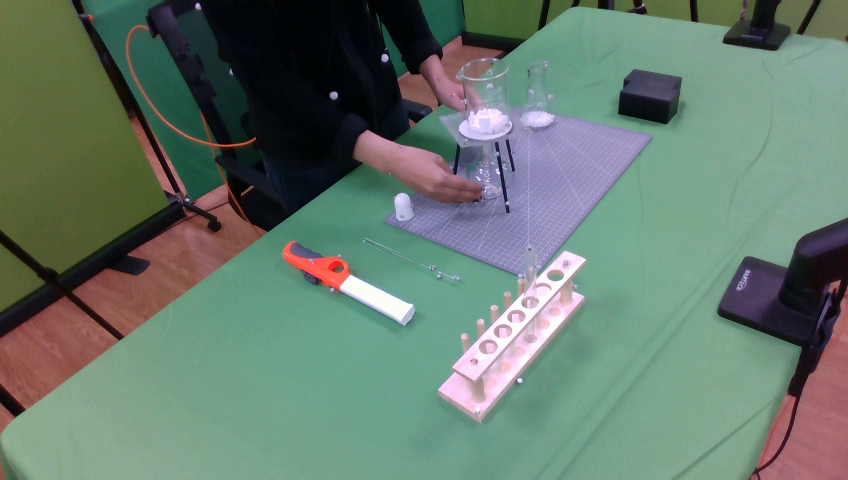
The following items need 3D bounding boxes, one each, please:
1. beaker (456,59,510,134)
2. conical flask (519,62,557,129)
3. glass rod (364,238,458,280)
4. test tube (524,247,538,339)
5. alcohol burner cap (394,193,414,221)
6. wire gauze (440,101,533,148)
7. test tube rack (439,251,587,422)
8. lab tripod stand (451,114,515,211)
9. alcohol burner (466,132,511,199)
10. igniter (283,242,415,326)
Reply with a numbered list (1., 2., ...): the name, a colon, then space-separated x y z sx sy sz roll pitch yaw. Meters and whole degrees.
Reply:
1. beaker: 0.098 -0.226 0.964 0.084 0.101 0.073 -7 39 4
2. conical flask: 0.225 -0.287 1.198 0.075 0.122 0.075 -6 40 5
3. glass rod: -0.026 0.029 0.966 0.198 0.008 0.008 22 49 35
4. test tube: 0.133 0.070 0.749 0.017 0.151 0.017 -5 38 4
5. alcohol burner cap: -0.036 -0.059 1.040 0.034 0.048 0.033 -6 41 5
6. wire gauze: 0.100 -0.189 0.995 0.125 0.011 0.120 -16 38 -6
7. test tube rack: 0.118 0.111 0.780 0.066 0.085 0.243 26 51 35
8. lab tripod stand: 0.113 -0.140 1.037 0.148 0.132 0.147 -6 38 5
9. alcohol burner: 0.110 -0.132 1.044 0.078 0.119 0.077 -6 38 5
10. igniter: -0.126 0.062 0.931 0.274 0.025 0.057 24 61 33
